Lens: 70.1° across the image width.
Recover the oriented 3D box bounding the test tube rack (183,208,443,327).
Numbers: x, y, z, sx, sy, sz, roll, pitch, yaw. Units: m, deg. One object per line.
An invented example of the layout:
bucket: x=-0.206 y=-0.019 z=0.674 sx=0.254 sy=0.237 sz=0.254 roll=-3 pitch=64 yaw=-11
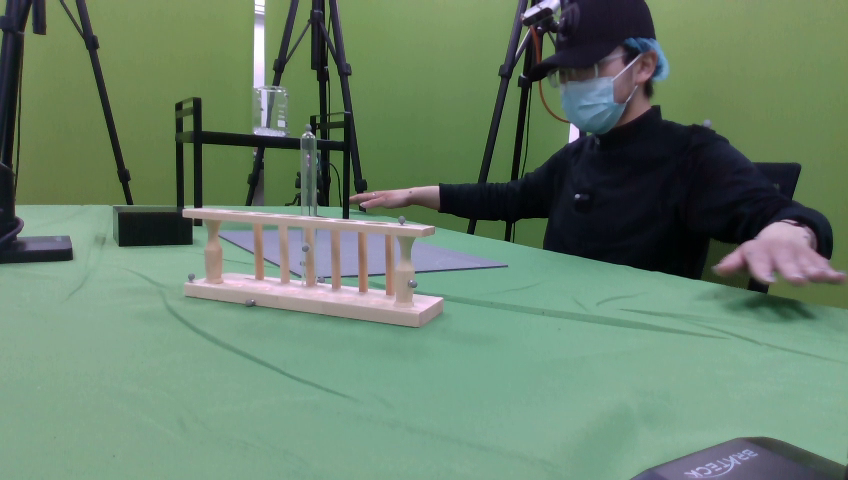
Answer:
test tube rack: x=-0.106 y=0.019 z=0.570 sx=0.241 sy=0.085 sz=0.067 roll=5 pitch=8 yaw=19

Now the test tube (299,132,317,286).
test tube: x=-0.113 y=-0.029 z=0.588 sx=0.017 sy=0.150 sz=0.017 roll=1 pitch=7 yaw=0

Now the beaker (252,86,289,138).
beaker: x=-0.319 y=-0.263 z=1.250 sx=0.074 sy=0.100 sz=0.084 roll=5 pitch=8 yaw=21
